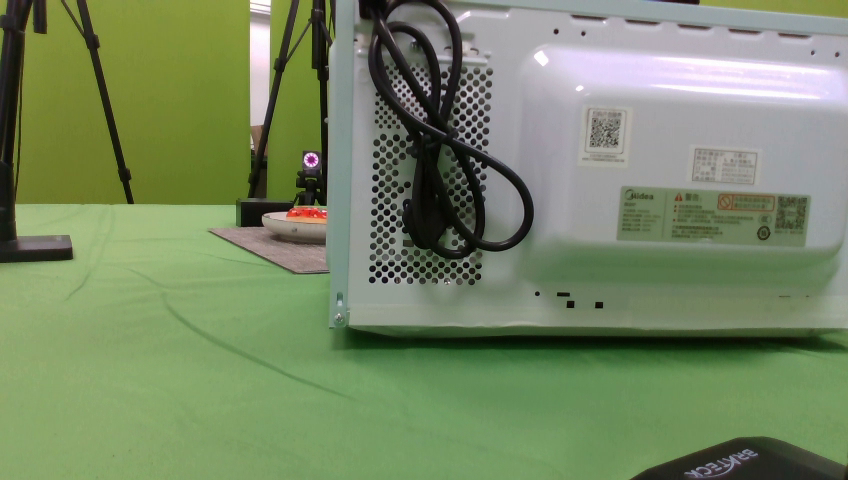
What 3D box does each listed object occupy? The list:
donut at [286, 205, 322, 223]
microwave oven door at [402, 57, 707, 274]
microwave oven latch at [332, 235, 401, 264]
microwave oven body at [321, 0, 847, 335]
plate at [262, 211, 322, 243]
[{"bbox_3d":[-0.186,-0.034,1.031,0.099,0.048,0.099,3,5,0],"label":"donut"},{"bbox_3d":[0.156,-0.086,0.726,0.356,0.243,0.039,2,8,-5],"label":"microwave oven door"},{"bbox_3d":[-0.066,0.010,0.700,0.079,0.029,0.030,2,7,-8],"label":"microwave oven latch"},{"bbox_3d":[0.133,-0.062,0.568,0.443,0.260,0.325,2,7,-8],"label":"microwave oven body"},{"bbox_3d":[-0.170,-0.023,1.036,0.209,0.038,0.209,2,7,0],"label":"plate"}]
